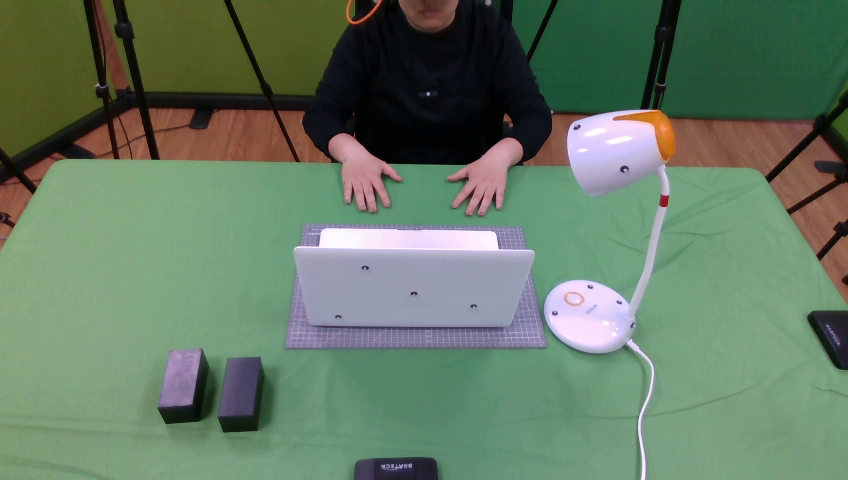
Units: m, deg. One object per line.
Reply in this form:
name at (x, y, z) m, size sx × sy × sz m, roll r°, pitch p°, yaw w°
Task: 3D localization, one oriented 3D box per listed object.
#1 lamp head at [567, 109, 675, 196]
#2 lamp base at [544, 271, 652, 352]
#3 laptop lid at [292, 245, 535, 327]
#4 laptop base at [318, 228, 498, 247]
lamp head at (0.272, -0.123, 0.818) m, size 0.122 × 0.113 × 0.112 m, roll -9°, pitch 35°, yaw 37°
lamp base at (0.310, 0.086, 1.029) m, size 0.178 × 0.181 × 0.160 m, roll 32°, pitch 52°, yaw 21°
laptop lid at (-0.018, 0.080, 0.956) m, size 0.357 × 0.243 × 0.013 m, roll 2°, pitch 54°, yaw -5°
laptop base at (-0.028, 0.066, 1.134) m, size 0.355 × 0.023 × 0.234 m, roll 1°, pitch 43°, yaw -4°
